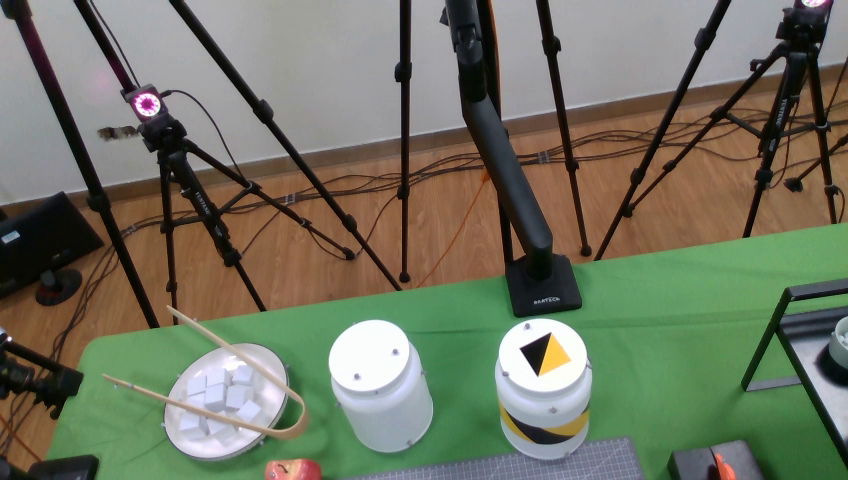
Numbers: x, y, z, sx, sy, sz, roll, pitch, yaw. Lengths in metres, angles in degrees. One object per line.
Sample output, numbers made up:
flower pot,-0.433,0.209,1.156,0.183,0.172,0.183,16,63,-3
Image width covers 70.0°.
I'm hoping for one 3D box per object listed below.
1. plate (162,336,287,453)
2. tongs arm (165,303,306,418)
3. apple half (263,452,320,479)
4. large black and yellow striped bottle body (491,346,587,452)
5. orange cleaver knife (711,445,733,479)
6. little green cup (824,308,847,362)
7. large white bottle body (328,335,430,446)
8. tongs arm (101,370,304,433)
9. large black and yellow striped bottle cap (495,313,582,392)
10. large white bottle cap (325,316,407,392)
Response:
plate,-0.327,0.258,1.010,0.207,0.039,0.205,-5,49,6
tongs arm,-0.329,0.192,1.028,0.384,0.028,0.028,24,51,31
apple half,-0.193,0.347,0.884,0.081,0.075,0.053,-4,53,2
large black and yellow striped bottle body,0.164,0.205,0.862,0.130,0.186,0.129,-6,46,7
orange cleaver knife,0.394,0.365,0.750,0.012,0.078,0.210,-14,74,11
little green cup,0.517,0.117,0.728,0.061,0.039,0.061,-6,49,7
large white bottle body,-0.067,0.212,0.903,0.130,0.186,0.129,-5,48,6
tongs arm,-0.369,0.249,0.982,0.382,0.027,0.050,11,49,23
large black and yellow striped bottle cap,0.152,0.147,0.802,0.115,0.019,0.114,-5,47,6
large white bottle cap,-0.080,0.156,0.839,0.115,0.018,0.113,-6,48,7
